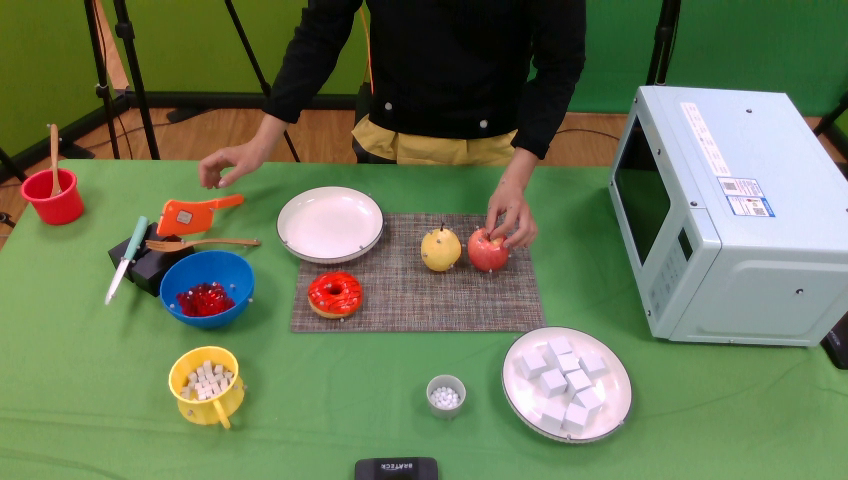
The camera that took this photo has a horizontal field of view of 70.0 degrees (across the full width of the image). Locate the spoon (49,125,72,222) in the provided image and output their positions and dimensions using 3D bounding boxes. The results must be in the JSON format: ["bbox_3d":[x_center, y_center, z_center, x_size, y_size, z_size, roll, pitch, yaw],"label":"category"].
[{"bbox_3d":[-0.717,-0.131,1.189,0.042,0.021,0.193,-3,90,-7],"label":"spoon"}]

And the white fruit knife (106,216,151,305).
[{"bbox_3d":[-0.519,0.032,1.066,0.027,0.016,0.206,-18,45,19],"label":"white fruit knife"}]

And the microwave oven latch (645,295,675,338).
[{"bbox_3d":[0.412,0.134,1.061,0.030,0.029,0.078,3,45,0],"label":"microwave oven latch"}]

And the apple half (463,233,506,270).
[{"bbox_3d":[0.119,0.025,1.144,0.081,0.075,0.053,-6,48,-19],"label":"apple half"}]

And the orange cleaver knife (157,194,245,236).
[{"bbox_3d":[-0.427,-0.050,1.175,0.012,0.077,0.211,22,19,20],"label":"orange cleaver knife"}]

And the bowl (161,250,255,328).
[{"bbox_3d":[-0.362,0.097,1.040,0.151,0.077,0.150,2,45,-2],"label":"bowl"}]

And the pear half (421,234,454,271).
[{"bbox_3d":[0.020,0.028,1.120,0.070,0.088,0.031,25,49,13],"label":"pear half"}]

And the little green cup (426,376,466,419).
[{"bbox_3d":[0.033,0.248,0.950,0.061,0.039,0.061,2,46,-2],"label":"little green cup"}]

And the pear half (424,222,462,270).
[{"bbox_3d":[0.038,0.000,1.135,0.076,0.110,0.056,25,49,14],"label":"pear half"}]

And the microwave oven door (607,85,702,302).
[{"bbox_3d":[0.423,-0.094,1.141,0.039,0.245,0.353,2,46,-1],"label":"microwave oven door"}]

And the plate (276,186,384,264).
[{"bbox_3d":[-0.184,-0.027,1.195,0.209,0.038,0.208,2,46,-2],"label":"plate"}]

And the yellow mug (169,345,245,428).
[{"bbox_3d":[-0.322,0.230,0.922,0.100,0.064,0.130,-24,53,-25],"label":"yellow mug"}]

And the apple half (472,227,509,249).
[{"bbox_3d":[0.123,0.000,1.166,0.081,0.081,0.032,3,49,-1],"label":"apple half"}]

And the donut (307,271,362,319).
[{"bbox_3d":[-0.157,0.097,1.073,0.099,0.048,0.098,4,45,-4],"label":"donut"}]

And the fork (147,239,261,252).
[{"bbox_3d":[-0.399,0.007,1.118,0.208,0.019,0.028,-4,36,-36],"label":"fork"}]

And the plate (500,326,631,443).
[{"bbox_3d":[0.224,0.234,0.978,0.208,0.039,0.206,2,46,-2],"label":"plate"}]

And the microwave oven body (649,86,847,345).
[{"bbox_3d":[0.567,-0.053,1.118,0.326,0.261,0.439,2,45,-1],"label":"microwave oven body"}]
